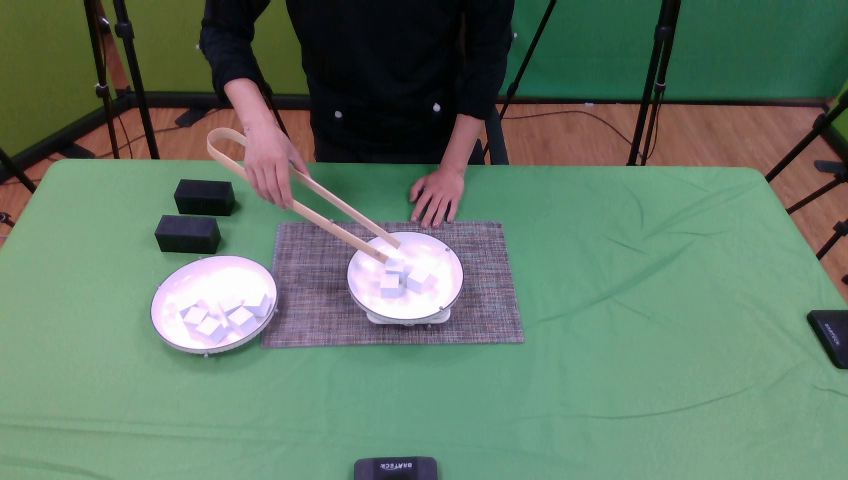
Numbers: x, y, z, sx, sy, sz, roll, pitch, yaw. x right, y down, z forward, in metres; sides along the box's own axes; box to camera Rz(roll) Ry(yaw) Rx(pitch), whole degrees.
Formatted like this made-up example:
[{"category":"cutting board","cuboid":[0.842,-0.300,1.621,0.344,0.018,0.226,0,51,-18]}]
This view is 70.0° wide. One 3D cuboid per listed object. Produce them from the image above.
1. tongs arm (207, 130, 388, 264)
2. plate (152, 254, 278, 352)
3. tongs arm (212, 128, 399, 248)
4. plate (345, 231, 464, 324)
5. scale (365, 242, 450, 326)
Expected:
[{"category":"tongs arm","cuboid":[-0.222,-0.076,1.060,0.385,0.026,0.050,30,55,2]},{"category":"plate","cuboid":[-0.357,0.111,1.052,0.208,0.039,0.206,2,46,-2]},{"category":"tongs arm","cuboid":[-0.209,-0.094,1.076,0.387,0.028,0.028,33,58,4]},{"category":"plate","cuboid":[-0.034,0.069,1.069,0.209,0.038,0.208,2,46,-2]},{"category":"scale","cuboid":[-0.032,0.071,1.113,0.149,0.032,0.199,0,46,-4]}]
